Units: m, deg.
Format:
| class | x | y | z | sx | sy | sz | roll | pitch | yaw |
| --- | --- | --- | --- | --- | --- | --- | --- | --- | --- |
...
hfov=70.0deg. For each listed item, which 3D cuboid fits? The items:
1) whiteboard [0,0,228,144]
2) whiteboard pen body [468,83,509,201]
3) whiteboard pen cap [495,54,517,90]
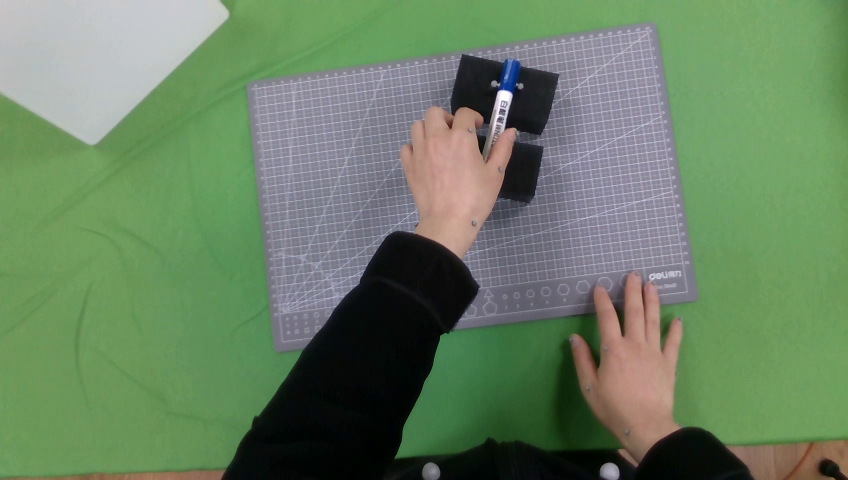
| class | x | y | z | sx | sy | sz | roll | pitch | yaw |
| --- | --- | --- | --- | --- | --- | --- | --- | --- | --- |
| whiteboard | -0.383 | -0.274 | 0.570 | 0.217 | 0.308 | 0.142 | -43 | 65 | 1 |
| whiteboard pen body | 0.066 | -0.107 | 0.593 | 0.017 | 0.017 | 0.140 | 13 | 88 | 5 |
| whiteboard pen cap | 0.080 | -0.164 | 0.595 | 0.018 | 0.018 | 0.033 | 14 | 90 | 5 |
